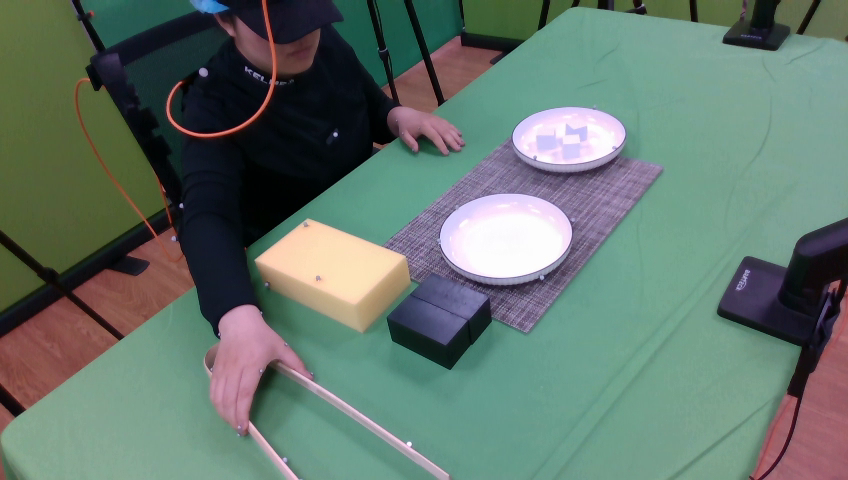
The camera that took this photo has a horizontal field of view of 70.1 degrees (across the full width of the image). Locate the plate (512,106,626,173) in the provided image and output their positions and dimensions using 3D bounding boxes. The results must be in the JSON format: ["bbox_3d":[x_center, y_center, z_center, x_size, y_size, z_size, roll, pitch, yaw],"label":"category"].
[{"bbox_3d":[0.269,-0.185,1.132,0.209,0.038,0.208,-5,40,5],"label":"plate"}]

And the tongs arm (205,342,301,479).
[{"bbox_3d":[-0.170,0.237,0.722,0.051,0.026,0.381,-35,46,-31],"label":"tongs arm"}]

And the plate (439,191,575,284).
[{"bbox_3d":[0.129,-0.001,0.942,0.207,0.039,0.206,-5,40,5],"label":"plate"}]

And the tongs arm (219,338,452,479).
[{"bbox_3d":[-0.124,0.205,0.759,0.384,0.028,0.028,22,50,31],"label":"tongs arm"}]

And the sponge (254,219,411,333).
[{"bbox_3d":[-0.139,0.048,0.922,0.205,0.061,0.118,19,47,30],"label":"sponge"}]
